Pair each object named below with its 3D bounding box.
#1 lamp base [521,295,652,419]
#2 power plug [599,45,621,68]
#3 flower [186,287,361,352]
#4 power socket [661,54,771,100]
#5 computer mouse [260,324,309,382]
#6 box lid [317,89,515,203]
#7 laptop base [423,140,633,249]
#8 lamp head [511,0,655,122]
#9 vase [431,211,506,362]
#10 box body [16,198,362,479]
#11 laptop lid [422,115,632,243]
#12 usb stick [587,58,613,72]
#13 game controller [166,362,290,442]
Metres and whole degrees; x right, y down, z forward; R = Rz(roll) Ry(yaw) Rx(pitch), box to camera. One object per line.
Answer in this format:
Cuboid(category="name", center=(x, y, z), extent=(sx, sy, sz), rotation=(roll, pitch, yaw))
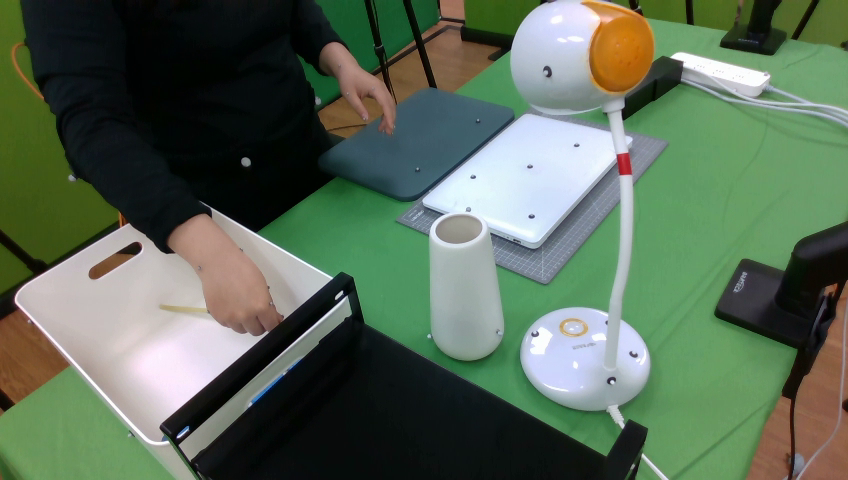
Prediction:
Cuboid(category="lamp base", center=(0.201, 0.095, 0.710), extent=(0.161, 0.181, 0.177), rotation=(-16, 43, -10))
Cuboid(category="power plug", center=(0.437, -0.422, 1.412), extent=(0.053, 0.035, 0.072), rotation=(-19, 75, -47))
Cuboid(category="flower", center=(-0.229, 0.107, 0.838), extent=(0.359, 0.044, 0.038), rotation=(13, 8, 35))
Cuboid(category="power socket", center=(0.615, -0.348, 1.285), extent=(0.072, 0.033, 0.225), rotation=(-36, 48, -29))
Cuboid(category="computer mouse", center=(-0.158, 0.155, 0.793), extent=(0.116, 0.041, 0.063), rotation=(29, 50, 24))
Cuboid(category="box lid", center=(-0.009, -0.207, 1.236), extent=(0.261, 0.015, 0.372), rotation=(23, 49, 32))
Cuboid(category="laptop base", center=(0.194, -0.117, 1.087), extent=(0.233, 0.023, 0.355), rotation=(20, 47, 34))
Cuboid(category="lamp head", center=(0.155, -0.168, 0.564), extent=(0.113, 0.113, 0.122), rotation=(-18, 23, -12))
Cuboid(category="vase", center=(0.054, 0.062, 0.757), extent=(0.098, 0.201, 0.097), rotation=(-3, 40, 3))
Cuboid(category="box body", center=(-0.285, 0.123, 0.766), extent=(0.361, 0.161, 0.255), rotation=(25, 49, 33))
Cuboid(category="laptop lid", center=(0.190, -0.126, 1.081), extent=(0.239, 0.013, 0.358), rotation=(23, 48, 34))
Cuboid(category="usb stick", center=(0.401, -0.399, 1.381), extent=(0.059, 0.027, 0.021), rotation=(0, 49, 21))
Cuboid(category="game controller", center=(-0.233, 0.210, 0.737), extent=(0.096, 0.052, 0.155), rotation=(27, 52, 32))
